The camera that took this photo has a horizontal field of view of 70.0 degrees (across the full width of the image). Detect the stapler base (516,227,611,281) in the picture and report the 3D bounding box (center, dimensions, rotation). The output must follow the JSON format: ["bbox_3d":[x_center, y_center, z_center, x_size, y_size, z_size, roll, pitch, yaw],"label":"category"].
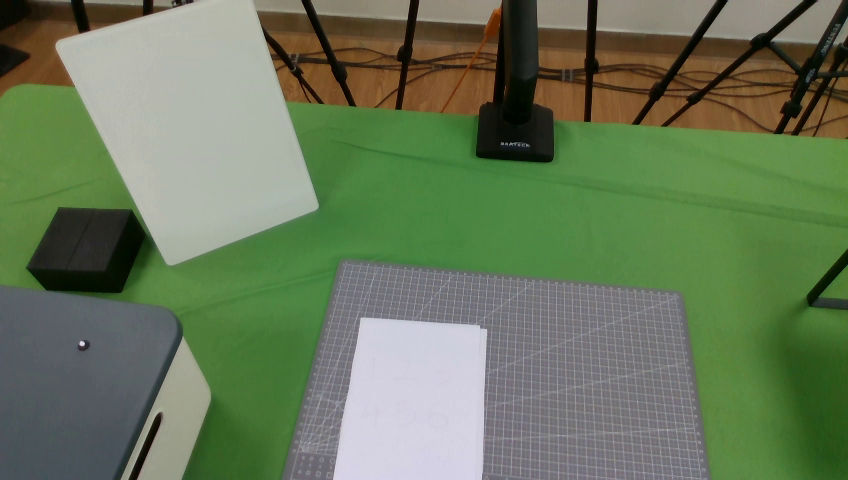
[{"bbox_3d":[0.188,0.008,0.809,0.130,0.024,0.041,29,57,19],"label":"stapler base"}]

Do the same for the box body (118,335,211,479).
[{"bbox_3d":[-0.426,0.194,0.587,0.364,0.162,0.252,6,53,5],"label":"box body"}]

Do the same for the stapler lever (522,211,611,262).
[{"bbox_3d":[0.186,-0.009,0.788,0.117,0.040,0.027,28,57,21],"label":"stapler lever"}]

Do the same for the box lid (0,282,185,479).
[{"bbox_3d":[-0.428,0.147,0.527,0.371,0.015,0.261,7,52,4],"label":"box lid"}]

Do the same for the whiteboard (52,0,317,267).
[{"bbox_3d":[-0.302,-0.159,0.805,0.217,0.308,0.142,-23,37,-16],"label":"whiteboard"}]

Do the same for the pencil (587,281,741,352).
[{"bbox_3d":[0.294,0.092,0.754,0.193,0.012,0.012,25,56,22],"label":"pencil"}]
